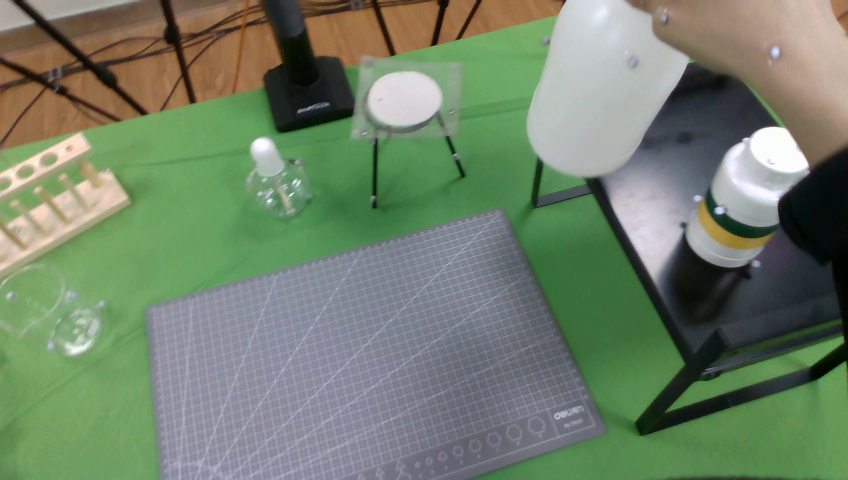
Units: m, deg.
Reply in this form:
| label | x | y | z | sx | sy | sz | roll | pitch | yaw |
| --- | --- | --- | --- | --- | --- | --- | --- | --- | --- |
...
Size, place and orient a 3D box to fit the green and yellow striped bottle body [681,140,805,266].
| label | x | y | z | sx | sy | sz | roll | pitch | yaw |
| --- | --- | --- | --- | --- | --- | --- | --- | --- | --- |
| green and yellow striped bottle body | 0.256 | -0.034 | 0.485 | 0.063 | 0.121 | 0.062 | -1 | 59 | 2 |

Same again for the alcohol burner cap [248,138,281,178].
| label | x | y | z | sx | sy | sz | roll | pitch | yaw |
| --- | --- | --- | --- | --- | --- | --- | --- | --- | --- |
| alcohol burner cap | -0.191 | -0.100 | 0.716 | 0.034 | 0.048 | 0.033 | -1 | 58 | 2 |

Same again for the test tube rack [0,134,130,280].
| label | x | y | z | sx | sy | sz | roll | pitch | yaw |
| --- | --- | --- | --- | --- | --- | --- | --- | --- | --- |
| test tube rack | -0.504 | -0.024 | 0.742 | 0.242 | 0.086 | 0.066 | -35 | 63 | -17 |

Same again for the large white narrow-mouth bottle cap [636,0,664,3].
| label | x | y | z | sx | sy | sz | roll | pitch | yaw |
| --- | --- | --- | --- | --- | --- | --- | --- | --- | --- |
| large white narrow-mouth bottle cap | 0.143 | -0.168 | 0.376 | 0.038 | 0.024 | 0.037 | 1 | 68 | -2 |

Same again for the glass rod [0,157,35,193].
| label | x | y | z | sx | sy | sz | roll | pitch | yaw |
| --- | --- | --- | --- | --- | --- | --- | --- | --- | --- |
| glass rod | -0.495 | -0.093 | 0.706 | 0.008 | 0.202 | 0.008 | -6 | 54 | 8 |

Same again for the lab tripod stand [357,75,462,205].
| label | x | y | z | sx | sy | sz | roll | pitch | yaw |
| --- | --- | --- | --- | --- | --- | --- | --- | --- | --- |
| lab tripod stand | -0.025 | -0.128 | 0.756 | 0.148 | 0.132 | 0.147 | -1 | 57 | 1 |

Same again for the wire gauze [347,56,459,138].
| label | x | y | z | sx | sy | sz | roll | pitch | yaw |
| --- | --- | --- | --- | --- | --- | --- | --- | --- | --- |
| wire gauze | -0.022 | -0.166 | 0.700 | 0.121 | 0.011 | 0.124 | 3 | 60 | 2 |

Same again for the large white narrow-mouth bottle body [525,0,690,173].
| label | x | y | z | sx | sy | sz | roll | pitch | yaw |
| --- | --- | --- | --- | --- | --- | --- | --- | --- | --- |
| large white narrow-mouth bottle body | 0.141 | -0.136 | 0.457 | 0.102 | 0.196 | 0.101 | 1 | 68 | -2 |

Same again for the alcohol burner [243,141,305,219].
| label | x | y | z | sx | sy | sz | roll | pitch | yaw |
| --- | --- | --- | --- | --- | --- | --- | --- | --- | --- |
| alcohol burner | -0.189 | -0.080 | 0.747 | 0.078 | 0.120 | 0.077 | -1 | 57 | 1 |

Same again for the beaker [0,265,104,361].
| label | x | y | z | sx | sy | sz | roll | pitch | yaw |
| --- | --- | --- | --- | --- | --- | --- | --- | --- | --- |
| beaker | -0.409 | 0.087 | 0.664 | 0.074 | 0.101 | 0.083 | -3 | 59 | 1 |

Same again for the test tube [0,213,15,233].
| label | x | y | z | sx | sy | sz | roll | pitch | yaw |
| --- | --- | --- | --- | --- | --- | --- | --- | --- | --- |
| test tube | -0.531 | -0.054 | 0.703 | 0.017 | 0.151 | 0.017 | -3 | 57 | 6 |

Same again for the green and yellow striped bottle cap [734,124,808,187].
| label | x | y | z | sx | sy | sz | roll | pitch | yaw |
| --- | --- | --- | --- | --- | --- | --- | --- | --- | --- |
| green and yellow striped bottle cap | 0.253 | -0.062 | 0.441 | 0.045 | 0.020 | 0.045 | -1 | 60 | 1 |
